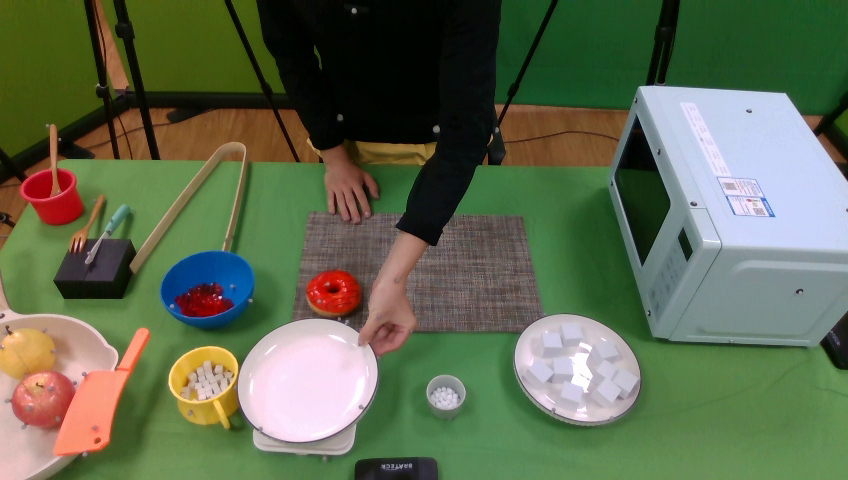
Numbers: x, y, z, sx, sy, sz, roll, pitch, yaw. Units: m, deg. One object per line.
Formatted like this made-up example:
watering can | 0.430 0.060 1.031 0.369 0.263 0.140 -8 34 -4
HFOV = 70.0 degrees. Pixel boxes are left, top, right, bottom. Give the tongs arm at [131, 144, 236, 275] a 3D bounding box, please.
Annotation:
tongs arm | -0.483 -0.076 1.236 0.028 0.028 0.385 5 45 14

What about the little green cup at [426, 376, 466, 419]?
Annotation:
little green cup | 0.033 0.248 0.950 0.061 0.039 0.061 2 46 -2

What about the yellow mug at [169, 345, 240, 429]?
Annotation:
yellow mug | -0.323 0.230 0.922 0.100 0.064 0.130 -24 53 -26

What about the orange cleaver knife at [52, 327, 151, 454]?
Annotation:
orange cleaver knife | -0.462 0.212 0.879 0.077 0.012 0.210 6 45 -2

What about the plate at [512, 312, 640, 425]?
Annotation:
plate | 0.246 0.213 0.999 0.208 0.039 0.206 2 46 -2

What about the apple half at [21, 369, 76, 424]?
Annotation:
apple half | -0.546 0.226 0.898 0.080 0.075 0.053 30 48 27

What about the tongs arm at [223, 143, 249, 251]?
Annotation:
tongs arm | -0.397 -0.073 1.232 0.051 0.027 0.382 -3 45 1

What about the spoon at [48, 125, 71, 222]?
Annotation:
spoon | -0.718 -0.131 1.188 0.041 0.021 0.193 -3 90 -7

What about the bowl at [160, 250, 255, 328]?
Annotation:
bowl | -0.362 0.098 1.040 0.151 0.077 0.150 2 45 -2

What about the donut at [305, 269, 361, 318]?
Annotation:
donut | -0.160 0.095 1.075 0.099 0.048 0.098 3 45 -3

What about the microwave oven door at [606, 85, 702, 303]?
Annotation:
microwave oven door | 0.422 -0.094 1.140 0.039 0.245 0.353 2 46 -1

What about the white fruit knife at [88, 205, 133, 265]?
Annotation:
white fruit knife | -0.584 -0.013 1.129 0.016 0.027 0.206 0 31 -5

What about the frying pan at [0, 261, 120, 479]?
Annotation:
frying pan | -0.647 0.164 0.936 0.307 0.103 0.485 -19 58 -22

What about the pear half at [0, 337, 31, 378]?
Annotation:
pear half | -0.631 0.183 0.923 0.070 0.088 0.031 28 50 14

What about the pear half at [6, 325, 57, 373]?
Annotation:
pear half | -0.607 0.158 0.935 0.076 0.110 0.056 30 51 19

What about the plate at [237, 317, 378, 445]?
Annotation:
plate | -0.173 0.212 0.912 0.209 0.038 0.208 2 49 -2

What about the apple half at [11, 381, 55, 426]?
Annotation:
apple half | -0.570 0.246 0.875 0.081 0.081 0.033 32 49 24

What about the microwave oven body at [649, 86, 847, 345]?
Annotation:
microwave oven body | 0.567 -0.053 1.118 0.326 0.261 0.439 2 45 -1

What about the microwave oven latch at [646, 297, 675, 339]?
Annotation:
microwave oven latch | 0.412 0.134 1.061 0.030 0.029 0.078 4 45 1

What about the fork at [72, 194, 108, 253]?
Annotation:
fork | -0.634 -0.035 1.158 0.028 0.019 0.206 -8 32 -8

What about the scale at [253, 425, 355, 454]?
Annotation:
scale | -0.175 0.236 0.951 0.149 0.032 0.199 4 45 0
